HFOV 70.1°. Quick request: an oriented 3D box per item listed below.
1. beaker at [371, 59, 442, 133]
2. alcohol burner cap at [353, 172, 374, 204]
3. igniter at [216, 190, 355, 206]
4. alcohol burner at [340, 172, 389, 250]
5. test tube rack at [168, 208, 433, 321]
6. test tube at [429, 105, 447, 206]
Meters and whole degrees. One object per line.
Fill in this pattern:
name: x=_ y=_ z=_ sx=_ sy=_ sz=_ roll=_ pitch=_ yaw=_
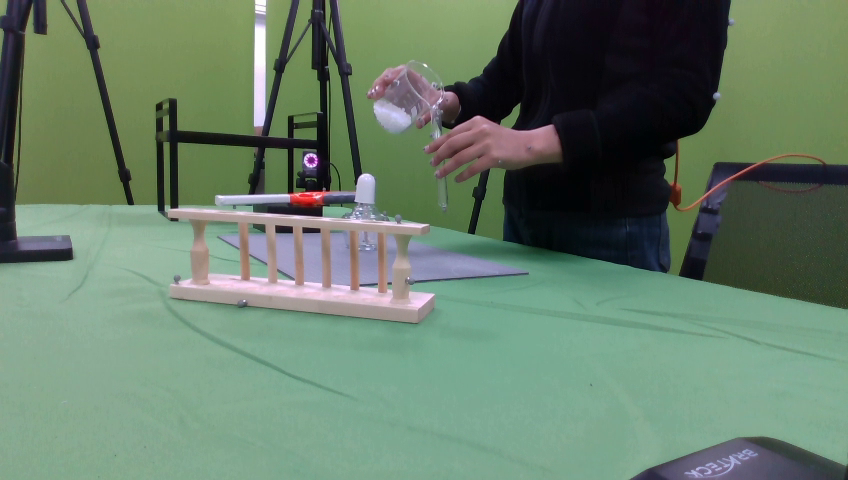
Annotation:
beaker: x=-0.029 y=-0.217 z=0.939 sx=0.074 sy=0.084 sz=0.100 roll=-12 pitch=-15 yaw=-44
alcohol burner cap: x=-0.092 y=-0.081 z=0.935 sx=0.034 sy=0.048 sz=0.034 roll=6 pitch=10 yaw=-1
igniter: x=-0.249 y=-0.079 z=1.151 sx=0.278 sy=0.025 sz=0.057 roll=-4 pitch=11 yaw=-27
alcohol burner: x=-0.094 y=-0.045 z=0.939 sx=0.078 sy=0.119 sz=0.078 roll=0 pitch=7 yaw=0
test tube rack: x=-0.116 y=0.018 z=0.574 sx=0.242 sy=0.085 sz=0.067 roll=4 pitch=8 yaw=13
test tube: x=0.021 y=-0.125 z=0.894 sx=0.017 sy=0.150 sz=0.017 roll=-5 pitch=-4 yaw=0
